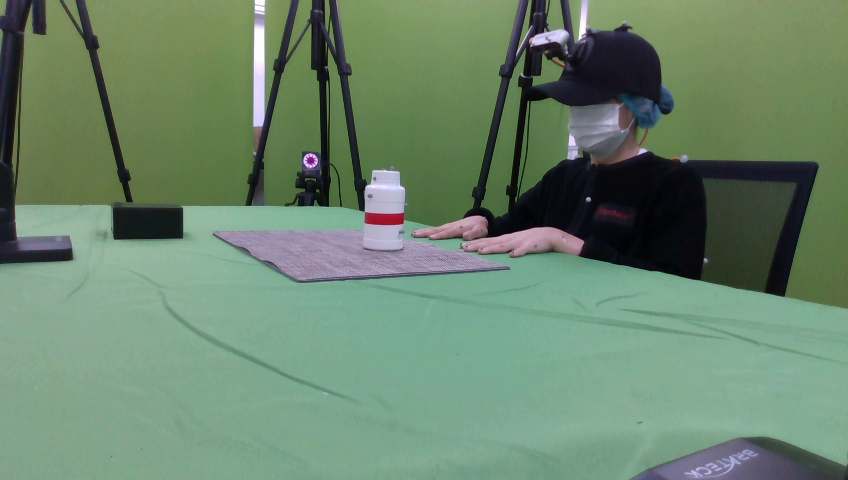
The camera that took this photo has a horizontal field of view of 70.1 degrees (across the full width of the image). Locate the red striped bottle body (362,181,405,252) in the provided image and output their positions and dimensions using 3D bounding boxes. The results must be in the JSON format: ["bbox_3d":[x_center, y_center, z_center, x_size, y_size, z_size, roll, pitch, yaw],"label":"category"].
[{"bbox_3d":[-0.062,-0.044,0.933,0.063,0.119,0.063,4,7,0],"label":"red striped bottle body"}]

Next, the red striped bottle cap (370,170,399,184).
[{"bbox_3d":[-0.059,-0.096,0.925,0.044,0.017,0.044,6,6,0],"label":"red striped bottle cap"}]
